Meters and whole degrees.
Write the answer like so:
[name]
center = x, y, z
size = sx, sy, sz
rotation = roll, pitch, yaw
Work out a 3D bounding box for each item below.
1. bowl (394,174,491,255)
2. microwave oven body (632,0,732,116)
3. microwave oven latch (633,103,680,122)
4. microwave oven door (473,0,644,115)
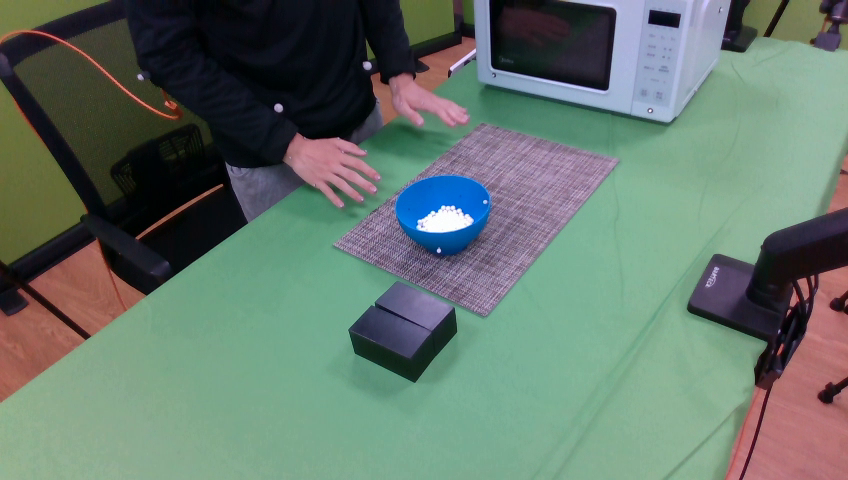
[bowl]
center = 0.032, -0.030, 0.949
size = 0.151, 0.077, 0.150
rotation = -4, 40, 4
[microwave oven body]
center = 0.377, -0.462, 1.267
size = 0.438, 0.261, 0.327
rotation = 21, 48, 30
[microwave oven latch]
center = 0.443, -0.249, 1.157
size = 0.078, 0.029, 0.030
rotation = 21, 48, 30
[microwave oven door]
center = 0.257, -0.396, 1.199
size = 0.353, 0.245, 0.039
rotation = 21, 48, 29
